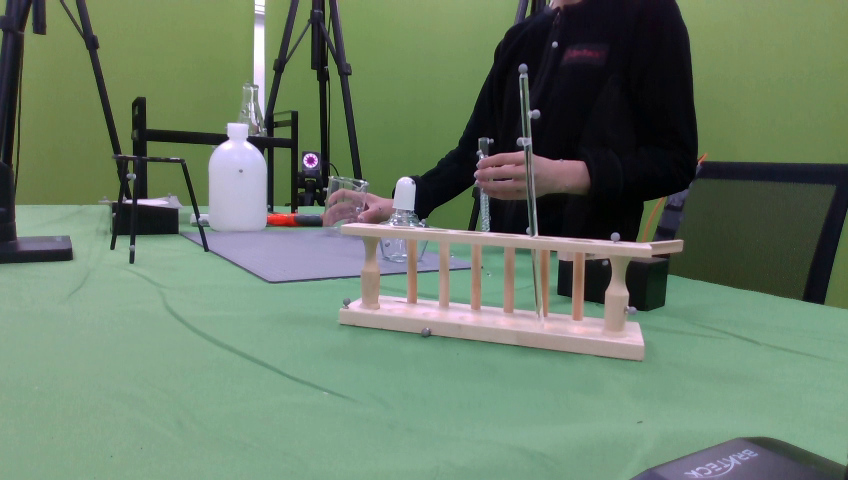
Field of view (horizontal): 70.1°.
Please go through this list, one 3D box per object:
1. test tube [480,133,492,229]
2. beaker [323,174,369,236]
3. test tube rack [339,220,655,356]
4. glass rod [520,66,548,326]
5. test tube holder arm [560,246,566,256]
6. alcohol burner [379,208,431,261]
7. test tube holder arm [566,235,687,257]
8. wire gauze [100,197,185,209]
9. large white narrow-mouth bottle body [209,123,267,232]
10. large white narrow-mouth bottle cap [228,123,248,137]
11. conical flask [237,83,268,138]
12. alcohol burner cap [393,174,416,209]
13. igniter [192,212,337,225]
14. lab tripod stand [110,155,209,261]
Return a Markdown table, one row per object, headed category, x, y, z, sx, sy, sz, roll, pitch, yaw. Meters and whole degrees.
| category | x | y | z | sx | sy | sz | roll | pitch | yaw |
| --- | --- | --- | --- | --- | --- | --- | --- | --- | --- |
| test tube | 0.094 | -0.086 | 0.916 | 0.017 | 0.150 | 0.017 | -3 | 19 | 1 |
| beaker | -0.139 | -0.061 | 1.076 | 0.074 | 0.100 | 0.083 | 1 | 13 | -36 |
| test tube rack | 0.056 | 0.032 | 0.495 | 0.242 | 0.085 | 0.067 | 4 | 7 | 15 |
| glass rod | 0.084 | -0.029 | 0.458 | 0.008 | 0.199 | 0.008 | -6 | 11 | 2 |
| test tube holder arm | 0.173 | 0.007 | 0.612 | 0.088 | 0.015 | 0.010 | -3 | 9 | -29 |
| alcohol burner | -0.027 | -0.031 | 0.838 | 0.078 | 0.119 | 0.078 | 0 | 6 | 0 |
| test tube holder arm | 0.215 | 0.006 | 0.630 | 0.179 | 0.015 | 0.013 | -3 | 9 | -31 |
| wire gauze | -0.469 | -0.062 | 1.008 | 0.126 | 0.011 | 0.121 | -2 | 8 | -25 |
| large white narrow-mouth bottle body | -0.340 | -0.115 | 1.109 | 0.102 | 0.194 | 0.102 | 2 | 8 | 0 |
| large white narrow-mouth bottle cap | -0.338 | -0.198 | 1.097 | 0.038 | 0.024 | 0.037 | 2 | 8 | 0 |
| conical flask | -0.402 | -0.299 | 1.406 | 0.075 | 0.122 | 0.075 | 2 | 7 | 0 |
| alcohol burner cap | -0.025 | -0.067 | 0.834 | 0.034 | 0.048 | 0.034 | 8 | 7 | -1 |
| igniter | -0.312 | -0.043 | 1.203 | 0.278 | 0.025 | 0.057 | -1 | -5 | -25 |
| lab tripod stand | -0.361 | -0.046 | 0.806 | 0.148 | 0.131 | 0.148 | 2 | 5 | 0 |
